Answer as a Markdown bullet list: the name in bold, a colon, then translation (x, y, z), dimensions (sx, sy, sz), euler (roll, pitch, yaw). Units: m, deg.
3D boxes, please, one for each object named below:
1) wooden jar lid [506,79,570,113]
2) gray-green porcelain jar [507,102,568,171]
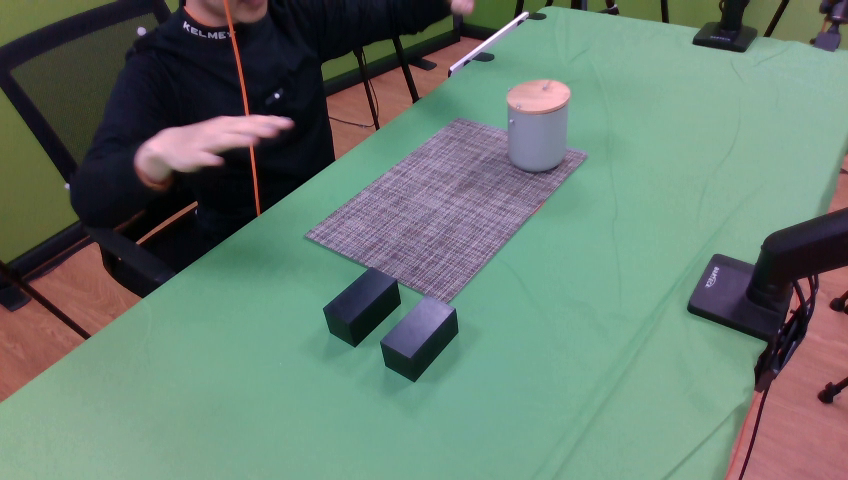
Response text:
- **wooden jar lid**: translation (0.197, -0.243, 1.041), dimensions (0.108, 0.021, 0.108), euler (-7, 41, 7)
- **gray-green porcelain jar**: translation (0.202, -0.196, 1.081), dimensions (0.106, 0.127, 0.105), euler (-4, 41, 4)
